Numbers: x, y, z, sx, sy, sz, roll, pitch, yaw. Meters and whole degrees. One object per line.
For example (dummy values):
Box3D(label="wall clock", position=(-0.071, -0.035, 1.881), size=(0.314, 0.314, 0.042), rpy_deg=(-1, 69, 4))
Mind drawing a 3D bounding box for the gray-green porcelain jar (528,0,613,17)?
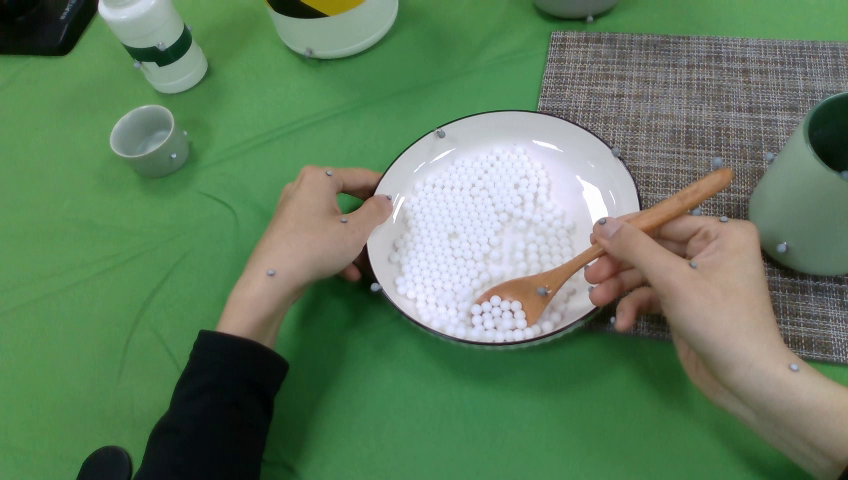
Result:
Box3D(label="gray-green porcelain jar", position=(0.139, -0.283, 0.559), size=(0.106, 0.127, 0.105), rpy_deg=(-4, 60, 7))

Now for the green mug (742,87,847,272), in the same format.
Box3D(label="green mug", position=(0.288, -0.030, 0.400), size=(0.124, 0.106, 0.092), rpy_deg=(28, 68, 22))

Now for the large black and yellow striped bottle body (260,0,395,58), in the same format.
Box3D(label="large black and yellow striped bottle body", position=(-0.107, -0.280, 0.563), size=(0.130, 0.186, 0.129), rpy_deg=(-4, 60, 7))

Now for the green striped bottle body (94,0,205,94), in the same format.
Box3D(label="green striped bottle body", position=(-0.267, -0.204, 0.585), size=(0.063, 0.120, 0.062), rpy_deg=(-4, 60, 8))

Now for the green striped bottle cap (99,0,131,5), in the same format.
Box3D(label="green striped bottle cap", position=(-0.275, -0.231, 0.541), size=(0.044, 0.020, 0.044), rpy_deg=(-3, 62, 6))

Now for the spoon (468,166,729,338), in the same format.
Box3D(label="spoon", position=(0.111, 0.010, 0.402), size=(0.194, 0.022, 0.041), rpy_deg=(-36, 55, 23))

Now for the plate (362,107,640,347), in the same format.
Box3D(label="plate", position=(0.057, -0.012, 0.468), size=(0.209, 0.038, 0.207), rpy_deg=(-5, 59, 9))

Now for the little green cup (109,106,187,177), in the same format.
Box3D(label="little green cup", position=(-0.255, -0.090, 0.565), size=(0.061, 0.039, 0.061), rpy_deg=(-4, 59, 7))
